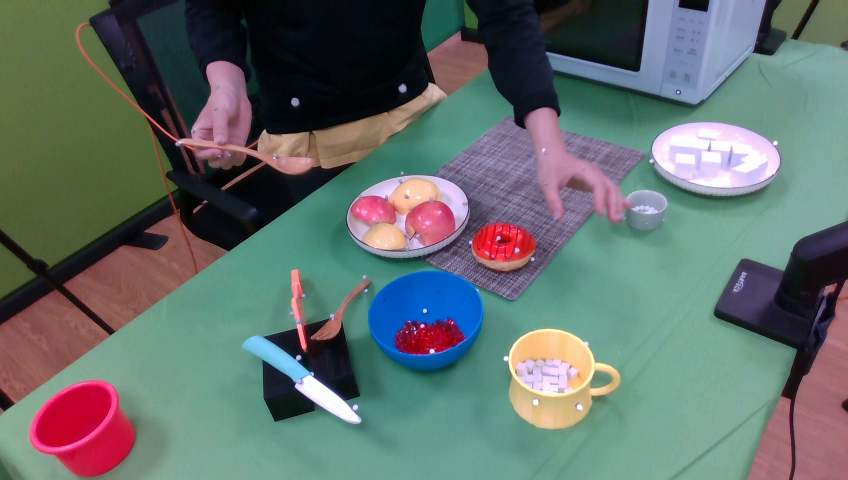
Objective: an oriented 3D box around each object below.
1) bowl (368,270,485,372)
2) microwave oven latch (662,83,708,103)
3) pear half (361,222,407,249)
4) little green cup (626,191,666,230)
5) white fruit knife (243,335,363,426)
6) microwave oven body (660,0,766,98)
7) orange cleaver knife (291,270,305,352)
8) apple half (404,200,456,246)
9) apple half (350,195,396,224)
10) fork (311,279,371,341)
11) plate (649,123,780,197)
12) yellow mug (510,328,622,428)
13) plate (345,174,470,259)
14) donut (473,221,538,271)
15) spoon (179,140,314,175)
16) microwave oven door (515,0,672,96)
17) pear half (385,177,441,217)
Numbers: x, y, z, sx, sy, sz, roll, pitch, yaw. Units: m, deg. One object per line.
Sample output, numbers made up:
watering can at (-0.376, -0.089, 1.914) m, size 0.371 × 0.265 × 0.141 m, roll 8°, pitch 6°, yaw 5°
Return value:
bowl at (0.007, 0.118, 0.791) m, size 0.151 × 0.077 × 0.150 m, roll -5°, pitch 40°, yaw 4°
microwave oven latch at (0.518, -0.296, 1.204) m, size 0.078 × 0.029 × 0.030 m, roll 28°, pitch 52°, yaw 35°
pear half at (-0.063, -0.012, 0.958) m, size 0.071 × 0.031 × 0.087 m, roll 3°, pitch 24°, yaw -25°
little green cup at (0.352, -0.046, 0.963) m, size 0.061 × 0.039 × 0.061 m, roll -4°, pitch 40°, yaw 4°
white fruit knife at (-0.148, 0.167, 0.730) m, size 0.206 × 0.016 × 0.027 m, roll 26°, pitch 80°, yaw 31°
microwave oven body at (0.472, -0.513, 1.317) m, size 0.438 × 0.261 × 0.327 m, roll 26°, pitch 51°, yaw 34°
orange cleaver knife at (-0.175, 0.094, 0.844) m, size 0.012 × 0.077 × 0.210 m, roll -11°, pitch 14°, yaw -10°
apple half at (0.009, -0.035, 0.969) m, size 0.075 × 0.053 × 0.080 m, roll -27°, pitch 40°, yaw -22°
apple half at (-0.081, -0.056, 1.008) m, size 0.081 × 0.033 × 0.081 m, roll 11°, pitch 24°, yaw -4°
fork at (-0.108, 0.092, 0.832) m, size 0.028 × 0.019 × 0.207 m, roll -6°, pitch 19°, yaw 15°
plate at (0.497, -0.134, 1.046) m, size 0.207 × 0.039 × 0.206 m, roll -4°, pitch 40°, yaw 4°
yellow mug at (0.169, 0.164, 0.722) m, size 0.130 × 0.064 × 0.099 m, roll 0°, pitch 41°, yaw 8°
plate at (-0.026, -0.036, 1.004) m, size 0.209 × 0.038 × 0.208 m, roll -4°, pitch 40°, yaw 4°
donut at (0.123, 0.008, 0.923) m, size 0.099 × 0.048 × 0.098 m, roll -3°, pitch 38°, yaw 3°
spoon at (-0.251, -0.122, 0.853) m, size 0.194 × 0.021 × 0.041 m, roll 14°, pitch 42°, yaw 0°
microwave oven door at (0.343, -0.455, 1.259) m, size 0.353 × 0.245 × 0.039 m, roll 26°, pitch 51°, yaw 33°
pear half at (-0.030, -0.079, 1.033) m, size 0.109 × 0.056 × 0.076 m, roll -1°, pitch 36°, yaw 15°
